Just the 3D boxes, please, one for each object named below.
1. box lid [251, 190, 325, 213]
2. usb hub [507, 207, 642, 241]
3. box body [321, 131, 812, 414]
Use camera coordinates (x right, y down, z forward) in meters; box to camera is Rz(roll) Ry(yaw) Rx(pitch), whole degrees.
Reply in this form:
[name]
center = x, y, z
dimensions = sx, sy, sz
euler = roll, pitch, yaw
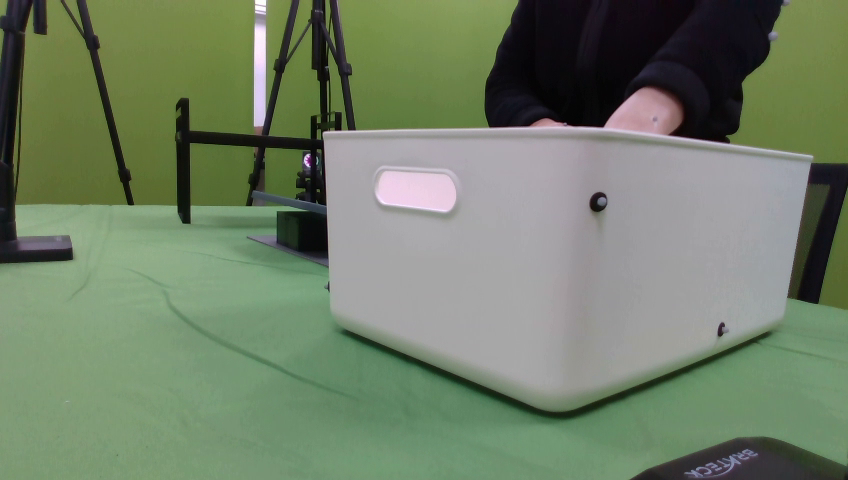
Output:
[box lid]
center = -0.066, -0.028, 0.971
dimensions = 0.374, 0.015, 0.262
euler = 11, 2, -34
[usb hub]
center = 0.133, -0.015, 0.527
dimensions = 0.126, 0.025, 0.049
euler = -1, 7, -37
[box body]
center = 0.124, -0.001, 0.510
dimensions = 0.366, 0.160, 0.253
euler = -4, 10, -42
